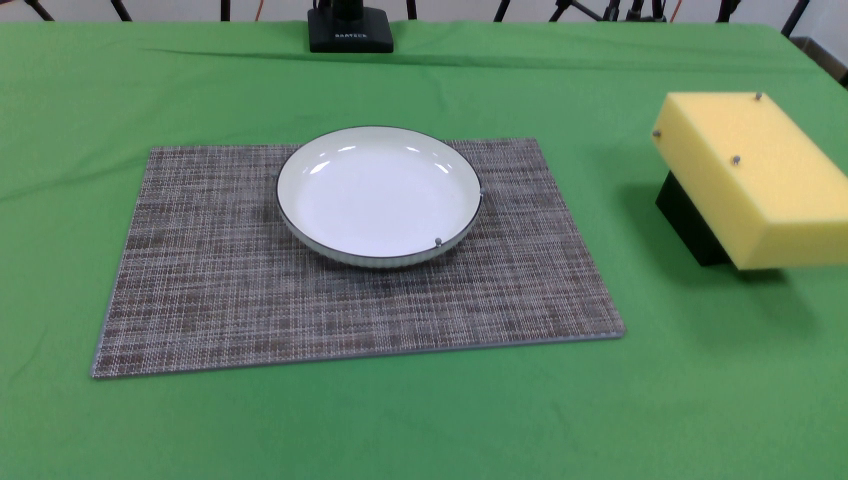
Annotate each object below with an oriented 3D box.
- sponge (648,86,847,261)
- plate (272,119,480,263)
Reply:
[{"bbox_3d":[0.328,-0.074,0.609,0.118,0.061,0.204,-3,46,-10],"label":"sponge"},{"bbox_3d":[-0.048,-0.050,0.621,0.208,0.039,0.205,4,45,-3],"label":"plate"}]
